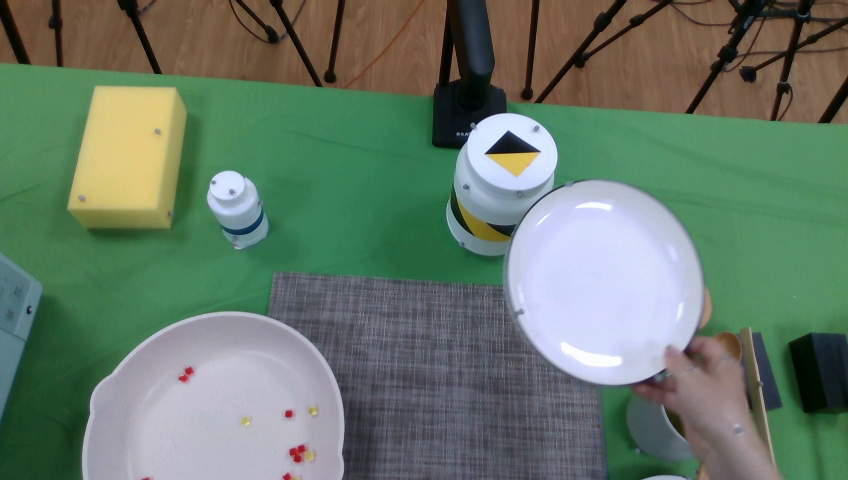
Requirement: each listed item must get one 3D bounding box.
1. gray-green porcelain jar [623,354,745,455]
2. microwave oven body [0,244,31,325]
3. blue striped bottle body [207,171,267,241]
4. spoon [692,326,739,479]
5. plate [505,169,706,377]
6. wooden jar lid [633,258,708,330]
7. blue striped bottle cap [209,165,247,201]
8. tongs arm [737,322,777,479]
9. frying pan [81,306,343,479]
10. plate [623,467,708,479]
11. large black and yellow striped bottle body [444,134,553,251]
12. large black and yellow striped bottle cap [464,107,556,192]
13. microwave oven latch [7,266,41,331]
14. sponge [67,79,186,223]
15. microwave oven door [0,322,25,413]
[{"bbox_3d":[0.313,0.208,0.751,0.106,0.127,0.105,2,65,-4],"label":"gray-green porcelain jar"},{"bbox_3d":[-0.662,0.182,0.598,0.326,0.261,0.438,4,66,-3],"label":"microwave oven body"},{"bbox_3d":[-0.253,-0.051,0.820,0.063,0.121,0.062,2,65,-4],"label":"blue striped bottle body"},{"bbox_3d":[0.323,0.189,0.683,0.041,0.022,0.193,20,69,1],"label":"spoon"},{"bbox_3d":[0.181,0.033,0.615,0.209,0.038,0.208,2,77,-8],"label":"plate"},{"bbox_3d":[0.352,0.079,0.871,0.108,0.021,0.107,2,67,-4],"label":"wooden jar lid"},{"bbox_3d":[-0.251,-0.073,0.773,0.044,0.021,0.044,2,67,-4],"label":"blue striped bottle cap"},{"bbox_3d":[0.442,0.291,0.743,0.051,0.026,0.382,-1,76,-7],"label":"tongs arm"},{"bbox_3d":[-0.273,0.308,0.666,0.306,0.103,0.485,18,59,6],"label":"frying pan"},{"bbox_3d":[0.296,0.380,0.722,0.208,0.039,0.206,2,66,-4],"label":"plate"},{"bbox_3d":[0.100,-0.078,0.829,0.131,0.185,0.129,2,65,-4],"label":"large black and yellow striped bottle body"},{"bbox_3d":[0.107,-0.114,0.753,0.115,0.019,0.114,2,67,-4],"label":"large black and yellow striped bottle cap"},{"bbox_3d":[-0.513,0.073,0.767,0.030,0.029,0.078,7,66,-2],"label":"microwave oven latch"},{"bbox_3d":[-0.422,-0.129,0.872,0.118,0.061,0.205,-1,67,-6],"label":"sponge"},{"bbox_3d":[-0.518,0.229,0.585,0.039,0.245,0.353,4,65,-3],"label":"microwave oven door"}]
